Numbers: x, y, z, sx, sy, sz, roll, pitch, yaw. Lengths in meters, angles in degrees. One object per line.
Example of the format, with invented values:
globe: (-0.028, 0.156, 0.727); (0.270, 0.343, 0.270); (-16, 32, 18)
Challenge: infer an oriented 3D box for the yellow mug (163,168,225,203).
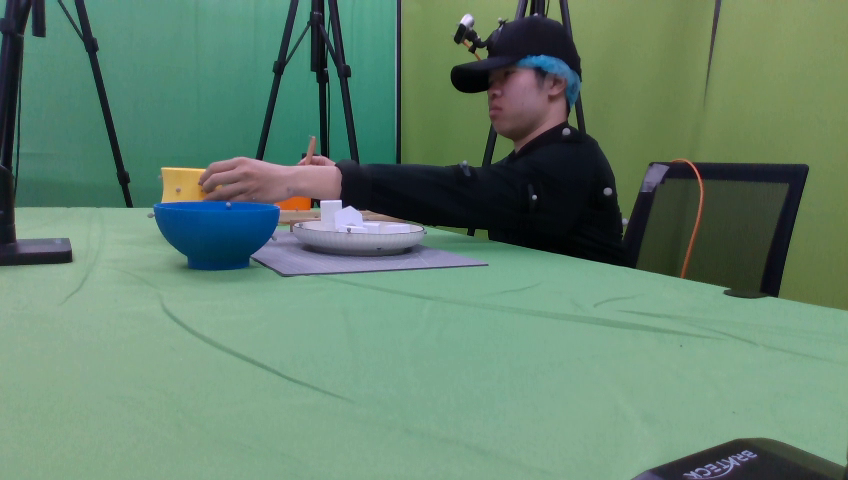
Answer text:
yellow mug: (-0.383, -0.087, 1.027); (0.130, 0.064, 0.100); (11, 11, 43)

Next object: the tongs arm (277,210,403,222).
tongs arm: (-0.206, -0.051, 1.332); (0.387, 0.026, 0.050); (-2, 8, -44)

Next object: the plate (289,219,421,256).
plate: (-0.108, -0.005, 0.963); (0.208, 0.039, 0.207); (3, 7, 0)

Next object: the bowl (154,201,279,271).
bowl: (-0.263, -0.005, 0.773); (0.151, 0.077, 0.151); (3, 8, 0)

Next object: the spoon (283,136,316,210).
spoon: (-0.270, -0.141, 1.346); (0.042, 0.193, 0.021); (18, -6, -16)

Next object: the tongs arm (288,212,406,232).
tongs arm: (-0.146, -0.040, 1.280); (0.028, 0.028, 0.389); (3, 5, 33)
